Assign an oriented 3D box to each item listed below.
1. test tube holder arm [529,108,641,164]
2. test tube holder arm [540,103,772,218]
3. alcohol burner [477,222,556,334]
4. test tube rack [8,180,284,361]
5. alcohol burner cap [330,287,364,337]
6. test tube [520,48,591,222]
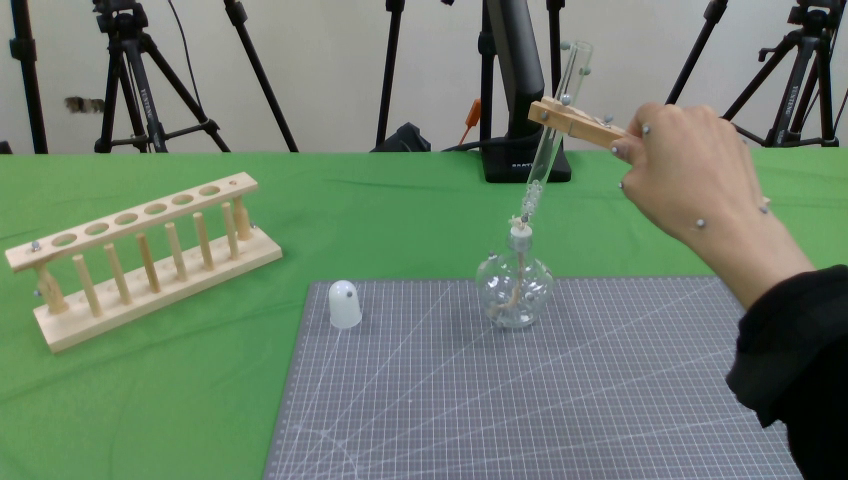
[{"bbox_3d":[0.118,-0.078,0.448,0.087,0.015,0.010,26,45,25],"label":"test tube holder arm"},{"bbox_3d":[0.156,-0.061,0.431,0.177,0.015,0.013,32,48,30],"label":"test tube holder arm"},{"bbox_3d":[0.091,0.032,0.584,0.078,0.120,0.077,0,36,0],"label":"alcohol burner"},{"bbox_3d":[-0.276,0.023,0.634,0.243,0.086,0.066,-25,41,-31],"label":"test tube rack"},{"bbox_3d":[-0.077,0.068,0.598,0.034,0.048,0.033,0,35,1],"label":"alcohol burner cap"},{"bbox_3d":[0.100,-0.076,0.473,0.017,0.151,0.017,7,38,-5],"label":"test tube"}]
